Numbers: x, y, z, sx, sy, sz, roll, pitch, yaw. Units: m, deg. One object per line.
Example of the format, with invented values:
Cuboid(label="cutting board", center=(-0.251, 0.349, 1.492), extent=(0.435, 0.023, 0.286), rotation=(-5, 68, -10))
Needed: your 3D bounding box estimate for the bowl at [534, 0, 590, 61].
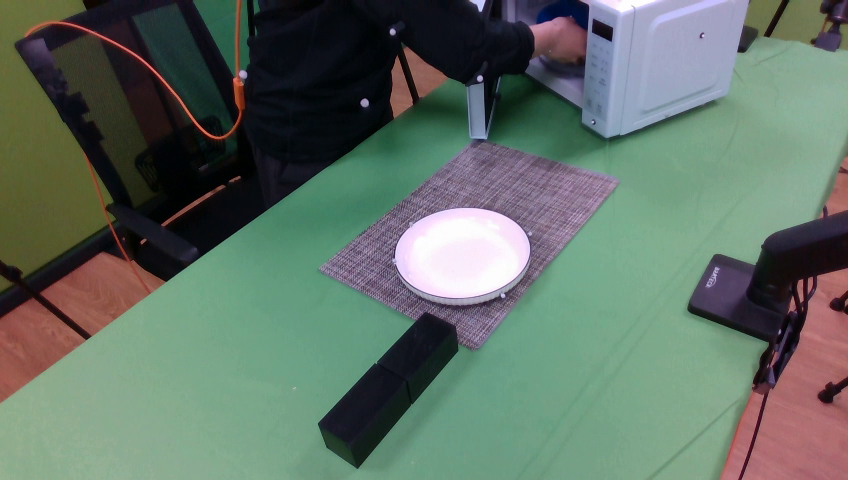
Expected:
Cuboid(label="bowl", center=(0.309, -0.433, 1.276), extent=(0.151, 0.077, 0.150), rotation=(-5, 50, 7))

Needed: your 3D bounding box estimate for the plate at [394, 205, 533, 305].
Cuboid(label="plate", center=(0.059, 0.025, 0.915), extent=(0.207, 0.039, 0.206), rotation=(-4, 41, 4))

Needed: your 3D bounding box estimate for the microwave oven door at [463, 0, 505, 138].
Cuboid(label="microwave oven door", center=(0.127, -0.404, 1.226), extent=(0.039, 0.245, 0.355), rotation=(2, 42, 12))

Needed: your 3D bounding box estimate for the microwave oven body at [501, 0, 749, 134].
Cuboid(label="microwave oven body", center=(0.382, -0.444, 1.246), extent=(0.327, 0.261, 0.437), rotation=(-22, 42, -16))

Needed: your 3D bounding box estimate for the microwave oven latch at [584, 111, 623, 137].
Cuboid(label="microwave oven latch", center=(0.337, -0.222, 1.142), extent=(0.030, 0.029, 0.078), rotation=(-21, 42, -14))
